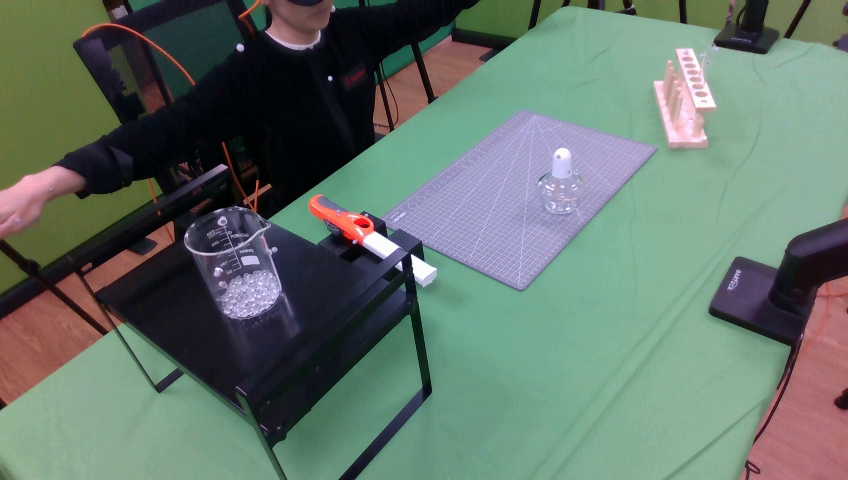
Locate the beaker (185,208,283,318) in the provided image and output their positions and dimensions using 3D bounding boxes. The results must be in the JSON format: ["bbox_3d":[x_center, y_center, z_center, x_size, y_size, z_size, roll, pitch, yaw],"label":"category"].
[{"bbox_3d":[-0.192,0.026,0.637,0.084,0.101,0.073,-13,41,-7],"label":"beaker"}]

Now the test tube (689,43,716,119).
[{"bbox_3d":[0.509,-0.287,1.107,0.017,0.151,0.017,-3,44,3],"label":"test tube"}]

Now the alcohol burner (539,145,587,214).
[{"bbox_3d":[0.226,-0.102,0.986,0.078,0.119,0.077,-6,41,6],"label":"alcohol burner"}]

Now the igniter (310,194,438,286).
[{"bbox_3d":[-0.087,-0.007,0.921,0.274,0.025,0.057,31,51,34],"label":"igniter"}]

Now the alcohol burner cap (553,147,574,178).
[{"bbox_3d":[0.224,-0.125,0.965,0.034,0.048,0.033,-5,44,5],"label":"alcohol burner cap"}]

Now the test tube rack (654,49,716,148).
[{"bbox_3d":[0.502,-0.281,1.176,0.066,0.085,0.241,1,41,11],"label":"test tube rack"}]
